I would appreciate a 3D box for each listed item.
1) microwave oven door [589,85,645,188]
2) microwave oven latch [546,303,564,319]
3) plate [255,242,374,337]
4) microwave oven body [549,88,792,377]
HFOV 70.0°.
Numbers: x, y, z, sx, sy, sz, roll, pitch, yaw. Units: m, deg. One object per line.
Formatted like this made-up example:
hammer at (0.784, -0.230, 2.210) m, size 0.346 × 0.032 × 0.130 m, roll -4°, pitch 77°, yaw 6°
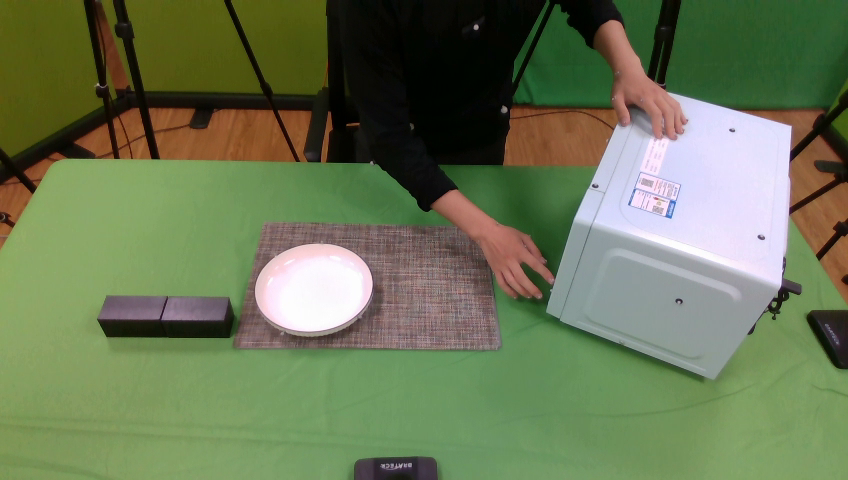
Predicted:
microwave oven door at (0.342, -0.107, 1.149) m, size 0.039 × 0.245 × 0.354 m, roll 20°, pitch 48°, yaw 15°
microwave oven latch at (0.242, 0.102, 1.081) m, size 0.030 × 0.029 × 0.079 m, roll 22°, pitch 48°, yaw 17°
plate at (-0.192, 0.090, 1.079) m, size 0.208 × 0.039 × 0.206 m, roll 2°, pitch 46°, yaw -2°
microwave oven body at (0.456, -0.028, 1.088) m, size 0.325 × 0.261 × 0.440 m, roll 20°, pitch 47°, yaw 16°
